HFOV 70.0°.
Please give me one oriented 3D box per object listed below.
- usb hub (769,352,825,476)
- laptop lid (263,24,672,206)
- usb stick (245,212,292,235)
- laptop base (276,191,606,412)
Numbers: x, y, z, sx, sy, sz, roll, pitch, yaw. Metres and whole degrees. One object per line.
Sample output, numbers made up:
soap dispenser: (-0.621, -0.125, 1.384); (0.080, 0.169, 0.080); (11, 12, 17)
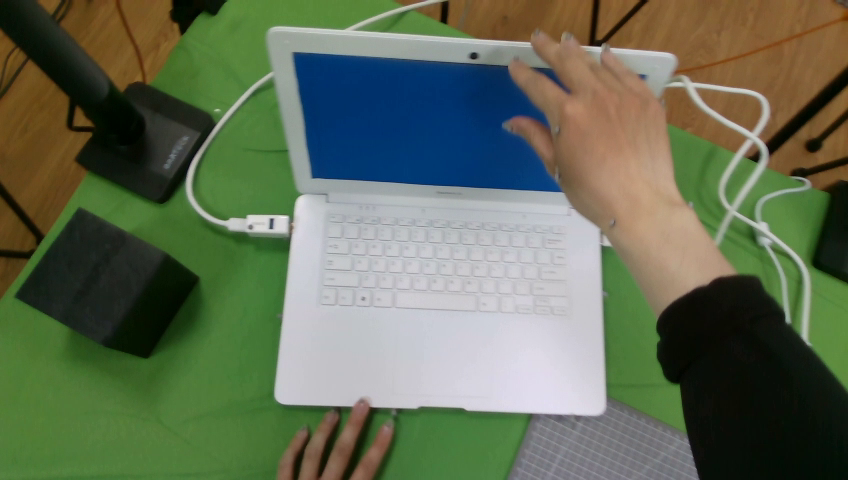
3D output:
usb hub: (0.405, 0.189, 0.659); (0.049, 0.025, 0.124); (10, 73, 0)
laptop lid: (0.034, -0.110, 0.607); (0.357, 0.243, 0.013); (2, 59, -2)
usb stick: (-0.167, -0.018, 0.675); (0.059, 0.027, 0.021); (3, 77, -8)
laptop base: (0.023, 0.066, 0.677); (0.354, 0.023, 0.234); (2, 76, -2)
